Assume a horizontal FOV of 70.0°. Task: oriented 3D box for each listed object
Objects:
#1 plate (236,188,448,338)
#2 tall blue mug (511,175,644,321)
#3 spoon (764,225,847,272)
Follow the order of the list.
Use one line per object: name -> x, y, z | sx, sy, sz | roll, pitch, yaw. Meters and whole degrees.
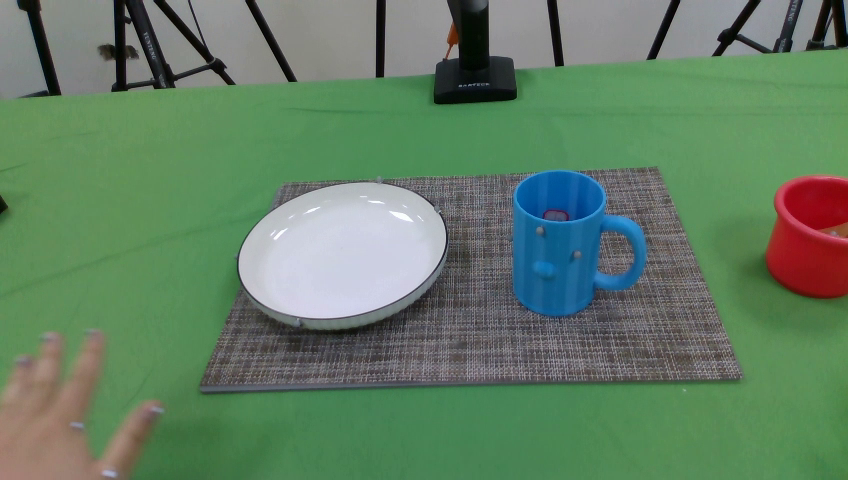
plate -> -0.078, 0.022, 0.605 | 0.207, 0.039, 0.205 | -4, 40, 3
tall blue mug -> 0.131, 0.007, 0.539 | 0.107, 0.109, 0.077 | -6, 39, 0
spoon -> 0.389, -0.018, 0.512 | 0.022, 0.194, 0.041 | 39, 43, -18
